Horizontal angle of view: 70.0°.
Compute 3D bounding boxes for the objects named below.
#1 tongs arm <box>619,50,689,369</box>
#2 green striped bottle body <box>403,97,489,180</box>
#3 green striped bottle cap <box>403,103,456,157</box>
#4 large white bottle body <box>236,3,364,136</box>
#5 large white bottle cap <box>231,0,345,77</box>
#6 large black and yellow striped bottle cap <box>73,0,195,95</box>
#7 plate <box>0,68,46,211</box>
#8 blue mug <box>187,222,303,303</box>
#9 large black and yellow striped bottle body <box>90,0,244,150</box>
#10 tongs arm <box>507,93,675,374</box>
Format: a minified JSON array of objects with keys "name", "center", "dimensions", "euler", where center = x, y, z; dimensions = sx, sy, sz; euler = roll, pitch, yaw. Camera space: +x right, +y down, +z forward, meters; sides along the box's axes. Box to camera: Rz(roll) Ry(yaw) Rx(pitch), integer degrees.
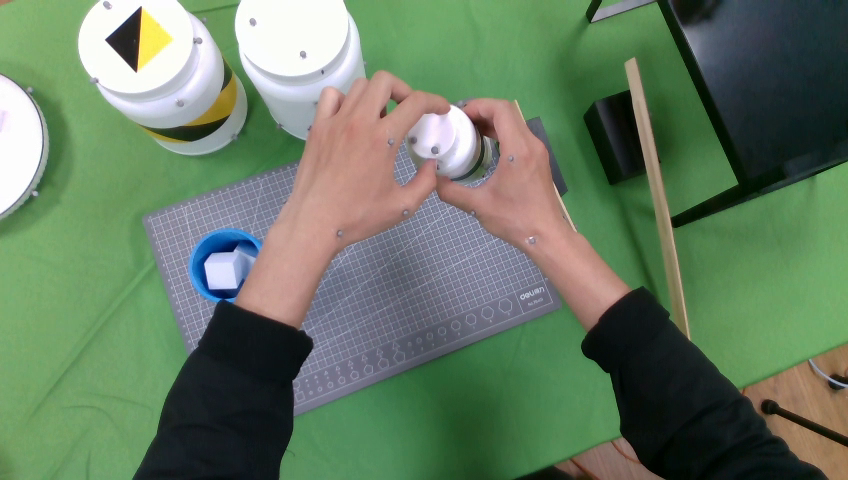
[{"name":"tongs arm","center":[0.277,-0.035,0.735],"dimensions":[0.028,0.027,0.388],"euler":[-13,94,-12]},{"name":"green striped bottle body","center":[0.020,-0.094,0.565],"dimensions":[0.063,0.119,0.063],"euler":[0,89,15]},{"name":"green striped bottle cap","center":[0.005,-0.094,0.515],"dimensions":[0.044,0.020,0.044],"euler":[0,89,14]},{"name":"large white bottle body","center":[-0.140,-0.210,0.702],"dimensions":[0.131,0.185,0.130],"euler":[0,81,-2]},{"name":"large white bottle cap","center":[-0.138,-0.224,0.619],"dimensions":[0.115,0.018,0.114],"euler":[0,81,-2]},{"name":"large black and yellow striped bottle cap","center":[-0.292,-0.204,0.612],"dimensions":[0.115,0.019,0.114],"euler":[1,82,-3]},{"name":"plate","center":[-0.570,-0.118,0.748],"dimensions":[0.208,0.039,0.207],"euler":[0,82,-2]},{"name":"blue mug","center":[-0.199,0.025,0.704],"dimensions":[0.116,0.106,0.082],"euler":[-14,82,-4]},{"name":"large black and yellow striped bottle body","center":[-0.294,-0.190,0.694],"dimensions":[0.131,0.184,0.130],"euler":[0,81,-2]},{"name":"tongs arm","center":[0.201,-0.006,0.726],"dimensions":[0.051,0.026,0.385],"euler":[-26,95,-8]}]
